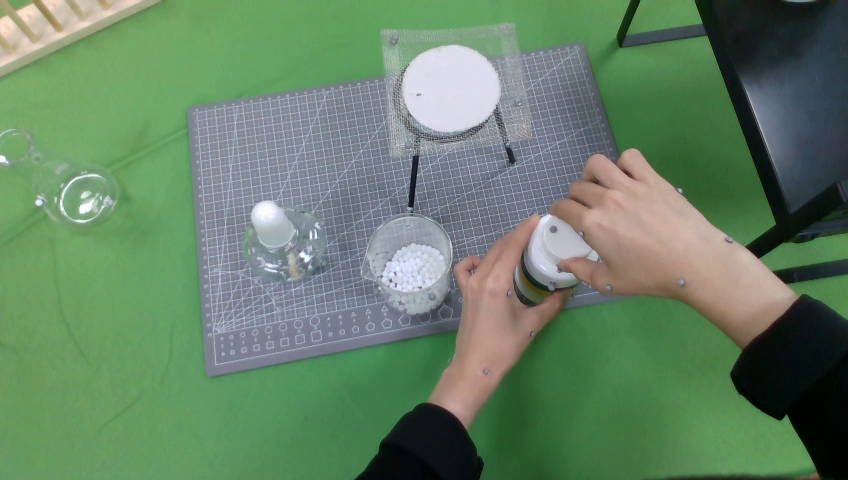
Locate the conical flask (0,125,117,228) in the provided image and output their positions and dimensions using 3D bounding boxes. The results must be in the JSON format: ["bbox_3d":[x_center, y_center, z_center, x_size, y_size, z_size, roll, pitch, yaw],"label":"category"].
[{"bbox_3d":[-0.362,-0.065,0.585,0.075,0.122,0.075,0,71,1],"label":"conical flask"}]

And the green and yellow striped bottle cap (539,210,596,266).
[{"bbox_3d":[0.118,-0.002,0.497,0.045,0.020,0.045,-1,71,3],"label":"green and yellow striped bottle cap"}]

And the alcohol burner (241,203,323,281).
[{"bbox_3d":[-0.135,-0.004,0.564,0.078,0.120,0.077,0,70,-1],"label":"alcohol burner"}]

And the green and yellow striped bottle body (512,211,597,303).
[{"bbox_3d":[0.118,0.015,0.551,0.063,0.120,0.063,0,71,1],"label":"green and yellow striped bottle body"}]

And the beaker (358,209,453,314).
[{"bbox_3d":[-0.015,0.027,0.560,0.084,0.101,0.073,-22,72,-5],"label":"beaker"}]

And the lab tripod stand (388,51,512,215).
[{"bbox_3d":[0.020,-0.107,0.586,0.148,0.132,0.147,0,70,0],"label":"lab tripod stand"}]

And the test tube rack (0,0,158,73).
[{"bbox_3d":[-0.421,-0.277,0.676,0.242,0.085,0.066,-29,74,-9],"label":"test tube rack"}]

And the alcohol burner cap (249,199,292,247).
[{"bbox_3d":[-0.137,-0.018,0.530,0.034,0.048,0.033,1,64,-1],"label":"alcohol burner cap"}]

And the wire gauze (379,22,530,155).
[{"bbox_3d":[0.025,-0.135,0.523,0.121,0.011,0.124,-5,72,-2],"label":"wire gauze"}]

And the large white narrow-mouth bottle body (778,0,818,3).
[{"bbox_3d":[0.303,-0.267,0.417,0.102,0.196,0.101,0,69,1],"label":"large white narrow-mouth bottle body"}]
